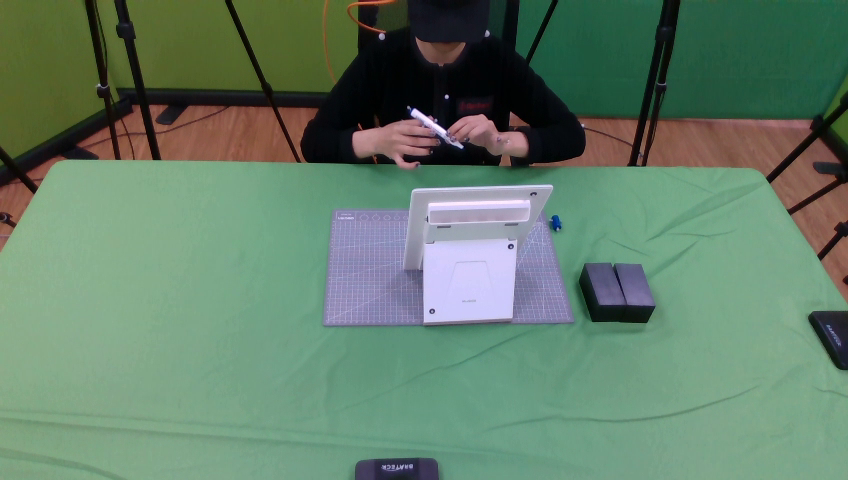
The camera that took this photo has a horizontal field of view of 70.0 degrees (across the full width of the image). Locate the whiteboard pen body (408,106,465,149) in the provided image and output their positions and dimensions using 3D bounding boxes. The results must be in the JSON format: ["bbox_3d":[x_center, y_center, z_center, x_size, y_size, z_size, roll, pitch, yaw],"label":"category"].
[{"bbox_3d":[0.027,-0.227,1.237,0.141,0.017,0.017,36,51,0],"label":"whiteboard pen body"}]

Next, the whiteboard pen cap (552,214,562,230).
[{"bbox_3d":[0.276,-0.037,1.260,0.018,0.018,0.033,1,44,-2],"label":"whiteboard pen cap"}]

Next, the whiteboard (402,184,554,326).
[{"bbox_3d":[0.081,0.044,1.005,0.217,0.306,0.143,-1,65,-6],"label":"whiteboard"}]
